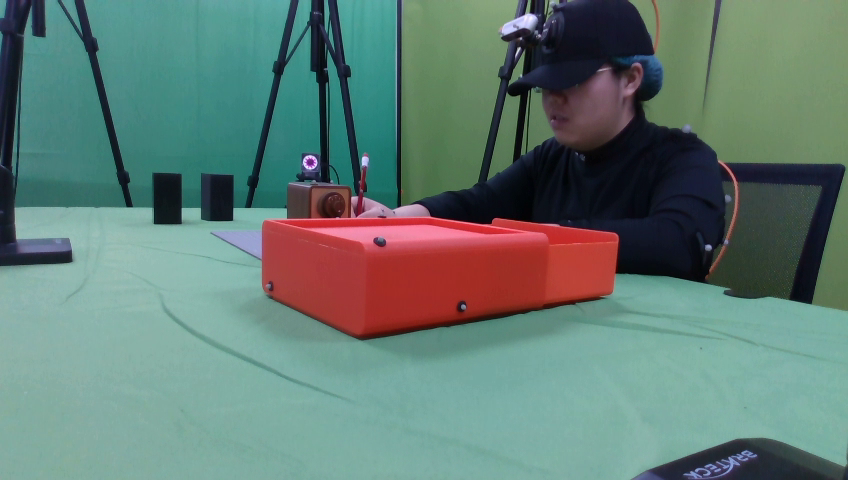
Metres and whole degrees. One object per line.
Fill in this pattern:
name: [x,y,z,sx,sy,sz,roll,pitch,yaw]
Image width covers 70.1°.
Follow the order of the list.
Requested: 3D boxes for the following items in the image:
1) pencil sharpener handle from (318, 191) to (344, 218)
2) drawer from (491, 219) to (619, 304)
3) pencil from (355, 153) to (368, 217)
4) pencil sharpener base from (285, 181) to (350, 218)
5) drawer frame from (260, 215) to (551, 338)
pencil sharpener handle: [-0.107,-0.026,0.747,0.036,0.067,0.030,-5,11,-36]
drawer: [0.071,0.021,0.669,0.213,0.073,0.193,-3,10,-39]
pencil: [-0.109,-0.072,1.022,0.012,0.193,0.012,2,-34,2]
pencil sharpener base: [-0.139,-0.021,0.789,0.062,0.107,0.076,-2,9,-36]
drawer frame: [-0.021,0.024,0.595,0.215,0.082,0.200,-4,10,-38]
